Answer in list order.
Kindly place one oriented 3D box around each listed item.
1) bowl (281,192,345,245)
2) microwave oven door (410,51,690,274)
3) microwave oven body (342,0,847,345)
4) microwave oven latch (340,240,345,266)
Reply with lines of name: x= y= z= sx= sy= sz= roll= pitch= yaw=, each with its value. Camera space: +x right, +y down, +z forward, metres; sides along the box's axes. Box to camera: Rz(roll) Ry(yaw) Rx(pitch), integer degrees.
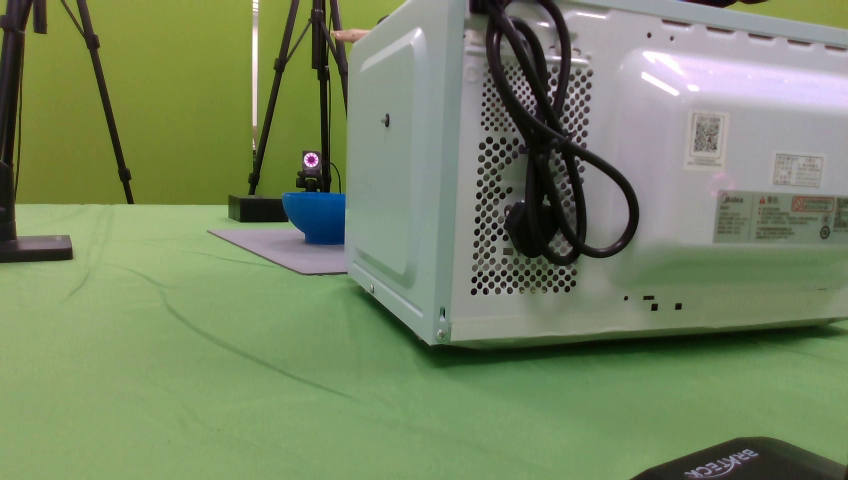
bowl: x=-0.158 y=-0.035 z=0.991 sx=0.151 sy=0.077 sz=0.151 roll=3 pitch=7 yaw=0
microwave oven door: x=0.161 y=-0.084 z=0.723 sx=0.357 sy=0.243 sz=0.039 roll=0 pitch=8 yaw=-20
microwave oven body: x=0.169 y=-0.060 z=0.573 sx=0.444 sy=0.260 sz=0.324 roll=1 pitch=7 yaw=-20
microwave oven latch: x=-0.052 y=0.016 z=0.662 sx=0.079 sy=0.029 sz=0.030 roll=1 pitch=7 yaw=-19
